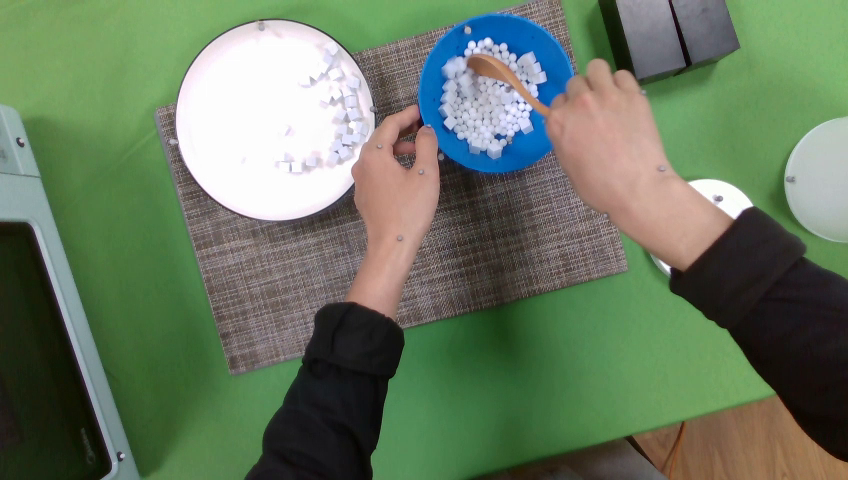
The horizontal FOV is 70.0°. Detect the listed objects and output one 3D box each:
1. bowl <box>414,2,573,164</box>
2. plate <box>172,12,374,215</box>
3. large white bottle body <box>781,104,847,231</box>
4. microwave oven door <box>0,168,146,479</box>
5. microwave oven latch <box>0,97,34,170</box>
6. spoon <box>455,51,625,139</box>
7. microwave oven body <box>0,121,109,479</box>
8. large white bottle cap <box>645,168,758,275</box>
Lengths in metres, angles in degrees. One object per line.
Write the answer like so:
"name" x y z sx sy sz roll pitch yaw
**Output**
"bowl" 0.067 -0.149 0.610 0.151 0.077 0.151 0 93 2
"plate" -0.154 -0.129 0.636 0.209 0.038 0.209 0 93 1
"large white bottle body" 0.439 -0.072 0.556 0.130 0.184 0.130 0 92 2
"microwave oven door" -0.376 0.104 0.538 0.039 0.243 0.356 -18 92 2
"microwave oven latch" -0.437 -0.109 0.629 0.030 0.029 0.079 -17 93 2
"spoon" 0.101 -0.134 0.553 0.192 0.042 0.022 40 124 29
"microwave oven body" -0.528 0.108 0.547 0.326 0.260 0.442 -18 93 2
"large white bottle cap" 0.295 -0.019 0.645 0.115 0.018 0.115 0 93 0
